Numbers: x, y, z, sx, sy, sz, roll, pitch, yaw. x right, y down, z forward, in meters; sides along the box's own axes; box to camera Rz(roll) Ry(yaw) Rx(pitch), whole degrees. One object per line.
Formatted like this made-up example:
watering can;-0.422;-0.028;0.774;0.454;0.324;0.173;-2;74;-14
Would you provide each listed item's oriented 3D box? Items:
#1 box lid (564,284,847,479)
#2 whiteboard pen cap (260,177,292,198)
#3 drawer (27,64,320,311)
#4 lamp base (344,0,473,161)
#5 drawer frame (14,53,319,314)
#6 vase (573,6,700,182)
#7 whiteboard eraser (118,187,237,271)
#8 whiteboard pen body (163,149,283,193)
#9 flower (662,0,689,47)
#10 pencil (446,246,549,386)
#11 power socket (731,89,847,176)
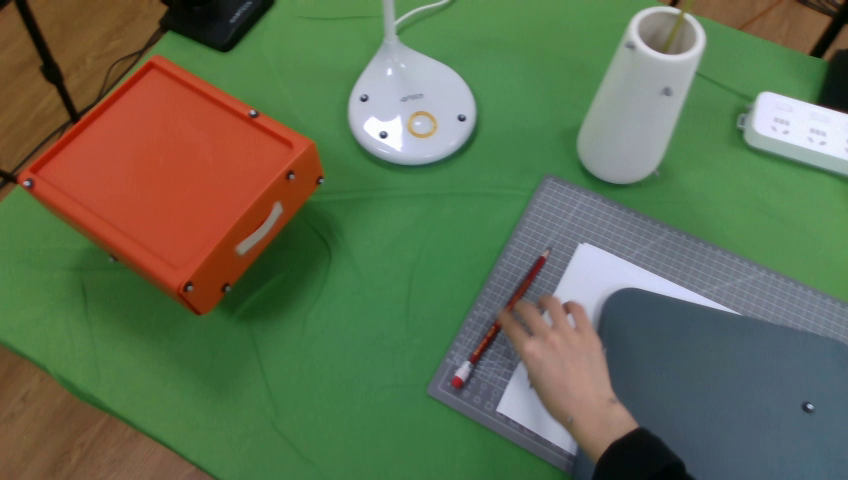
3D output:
box lid;0.265;0.229;0.561;0.263;0.015;0.369;15;65;7
whiteboard pen cap;-0.159;-0.056;0.645;0.033;0.018;0.018;15;64;16
drawer;-0.250;-0.063;0.625;0.211;0.074;0.194;30;68;14
lamp base;-0.027;-0.210;0.691;0.161;0.182;0.177;-25;63;-12
drawer frame;-0.256;-0.064;0.628;0.212;0.083;0.201;30;68;13
vase;0.222;-0.149;0.647;0.098;0.201;0.097;-1;62;2
whiteboard eraser;-0.250;-0.011;0.618;0.112;0.042;0.055;22;59;19
whiteboard pen body;-0.217;-0.073;0.653;0.140;0.017;0.017;18;64;7
flower;0.235;-0.198;0.580;0.038;0.364;0.043;14;46;1
pencil;0.082;0.075;0.640;0.012;0.012;0.193;33;67;17
power socket;0.488;-0.119;0.723;0.226;0.033;0.072;20;66;10
